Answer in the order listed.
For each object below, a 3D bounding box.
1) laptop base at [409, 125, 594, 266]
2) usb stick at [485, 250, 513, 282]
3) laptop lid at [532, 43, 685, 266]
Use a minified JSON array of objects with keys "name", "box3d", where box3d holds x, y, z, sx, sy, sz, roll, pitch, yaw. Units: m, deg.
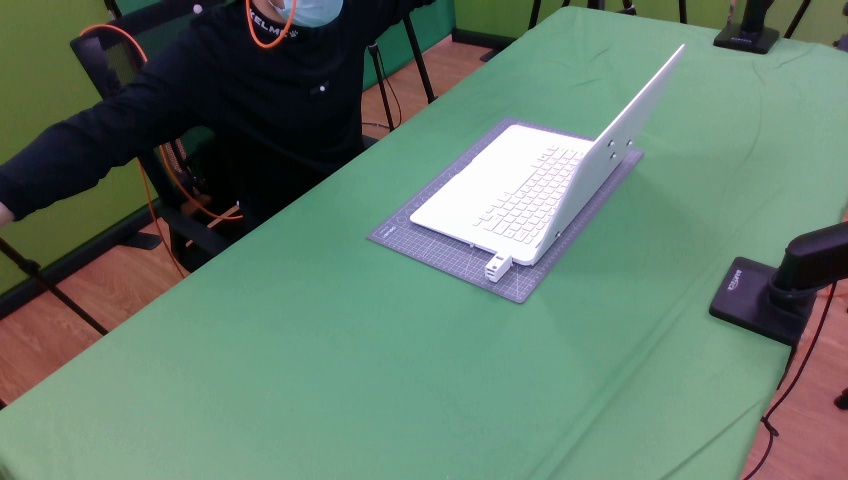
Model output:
[{"name":"laptop base","box3d":[0.168,-0.094,1.056,0.233,0.023,0.355,20,47,32]},{"name":"usb stick","box3d":[0.116,0.034,0.895,0.021,0.027,0.059,22,46,32]},{"name":"laptop lid","box3d":[0.280,-0.130,0.907,0.013,0.242,0.357,34,52,17]}]
